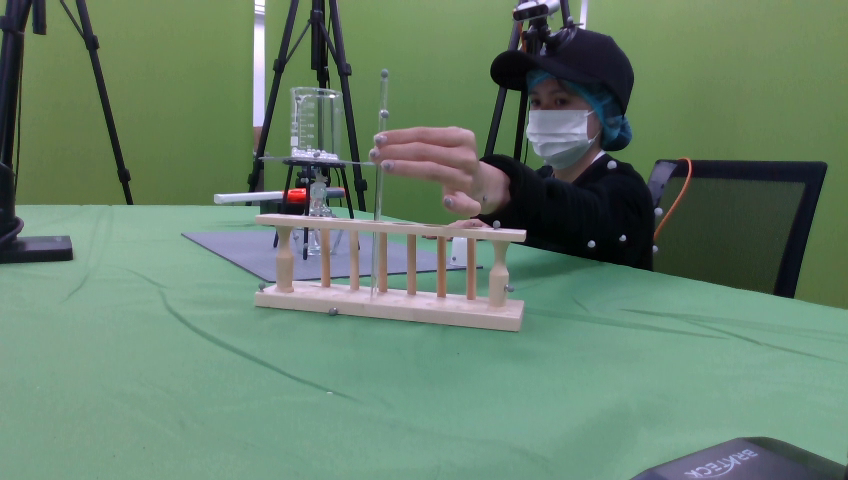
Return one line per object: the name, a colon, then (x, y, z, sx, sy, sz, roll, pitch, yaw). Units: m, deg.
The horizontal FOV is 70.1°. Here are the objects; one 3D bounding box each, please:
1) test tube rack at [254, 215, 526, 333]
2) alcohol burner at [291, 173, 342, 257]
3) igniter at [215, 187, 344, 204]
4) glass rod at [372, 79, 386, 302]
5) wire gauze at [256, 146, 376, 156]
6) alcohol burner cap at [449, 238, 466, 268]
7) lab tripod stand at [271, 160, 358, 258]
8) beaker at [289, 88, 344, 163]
test tube rack: (-0.030, 0.025, 0.557, 0.242, 0.085, 0.067, 4, 7, 12)
alcohol burner: (-0.155, -0.037, 0.870, 0.078, 0.119, 0.078, 2, 6, 0)
igniter: (-0.289, -0.093, 1.255, 0.278, 0.025, 0.057, -6, 12, -34)
glass rod: (-0.039, -0.038, 0.530, 0.008, 0.199, 0.008, 3, 12, 0)
wire gauze: (-0.155, -0.128, 0.871, 0.124, 0.011, 0.122, 2, 7, 36)
alcohol burner cap: (0.051, 0.015, 0.827, 0.034, 0.048, 0.034, 2, 5, 0)
lab tripod stand: (-0.160, -0.047, 0.876, 0.148, 0.131, 0.148, 3, 5, 0)
beaker: (-0.157, -0.160, 0.862, 0.083, 0.100, 0.074, 7, 7, 34)
